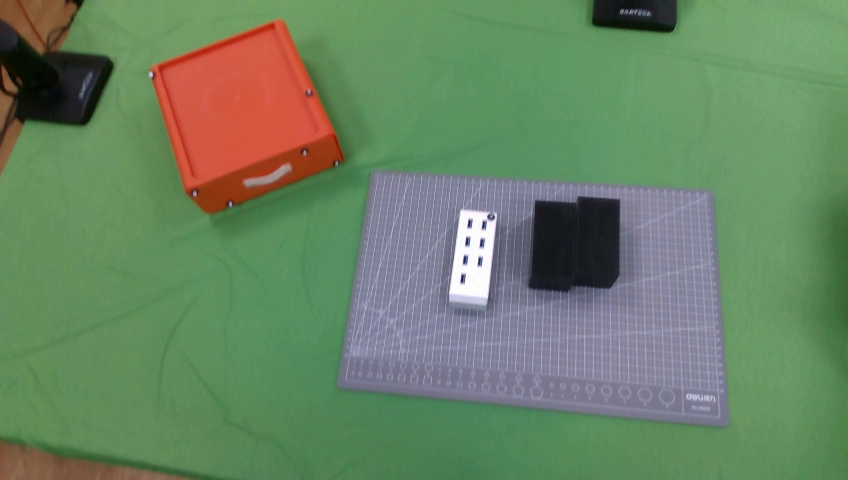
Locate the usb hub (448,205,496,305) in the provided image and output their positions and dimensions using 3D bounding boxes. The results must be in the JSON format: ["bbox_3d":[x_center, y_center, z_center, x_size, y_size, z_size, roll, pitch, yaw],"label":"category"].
[{"bbox_3d":[0.061,0.018,0.758,0.049,0.025,0.124,6,69,6],"label":"usb hub"}]

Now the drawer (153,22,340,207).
[{"bbox_3d":[-0.243,-0.175,0.828,0.194,0.074,0.210,-23,68,-5],"label":"drawer"}]

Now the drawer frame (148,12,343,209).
[{"bbox_3d":[-0.243,-0.177,0.826,0.202,0.083,0.212,-24,68,-5],"label":"drawer frame"}]
